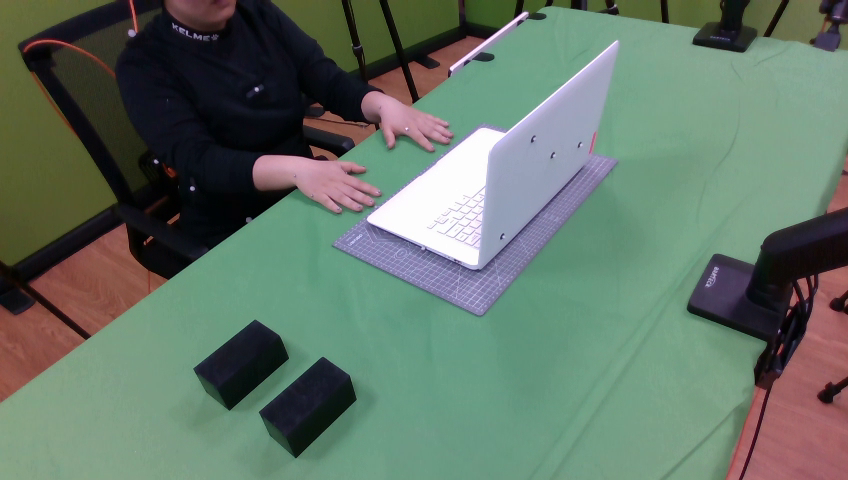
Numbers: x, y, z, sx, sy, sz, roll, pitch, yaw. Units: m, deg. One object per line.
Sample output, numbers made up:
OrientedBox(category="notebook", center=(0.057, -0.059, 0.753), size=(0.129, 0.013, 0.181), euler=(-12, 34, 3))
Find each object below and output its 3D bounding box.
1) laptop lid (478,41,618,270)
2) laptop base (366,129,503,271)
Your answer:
OrientedBox(category="laptop lid", center=(0.191, -0.130, 0.912), size=(0.013, 0.242, 0.358), euler=(29, 50, 26))
OrientedBox(category="laptop base", center=(0.099, -0.086, 1.059), size=(0.233, 0.023, 0.355), euler=(21, 48, 34))
